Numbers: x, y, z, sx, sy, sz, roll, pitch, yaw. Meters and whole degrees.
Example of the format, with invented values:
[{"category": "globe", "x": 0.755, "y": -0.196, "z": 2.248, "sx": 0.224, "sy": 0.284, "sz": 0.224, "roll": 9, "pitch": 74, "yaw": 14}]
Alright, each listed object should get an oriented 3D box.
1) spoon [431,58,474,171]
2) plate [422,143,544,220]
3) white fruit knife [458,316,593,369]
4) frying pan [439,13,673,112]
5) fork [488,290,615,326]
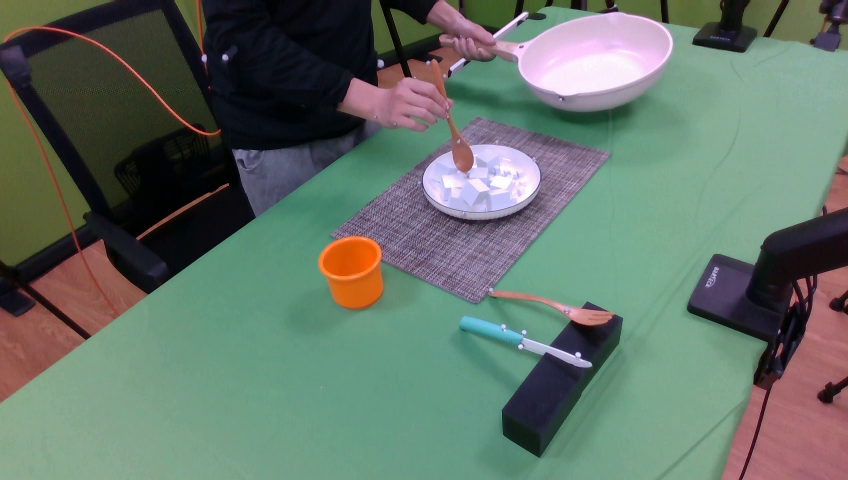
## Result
[{"category": "spoon", "x": 0.043, "y": -0.200, "z": 0.983, "sx": 0.041, "sy": 0.195, "sz": 0.021, "roll": 2, "pitch": 38, "yaw": 34}, {"category": "plate", "x": 0.102, "y": -0.097, "z": 1.048, "sx": 0.207, "sy": 0.039, "sz": 0.206, "roll": -4, "pitch": 40, "yaw": 4}, {"category": "white fruit knife", "x": 0.120, "y": 0.127, "z": 0.757, "sx": 0.205, "sy": 0.027, "sz": 0.016, "roll": 12, "pitch": 44, "yaw": 43}, {"category": "frying pan", "x": 0.249, "y": -0.380, "z": 1.245, "sx": 0.485, "sy": 0.103, "sz": 0.307, "roll": 19, "pitch": 53, "yaw": 24}, {"category": "fork", "x": 0.160, "y": 0.086, "z": 0.800, "sx": 0.205, "sy": 0.019, "sz": 0.028, "roll": 11, "pitch": 46, "yaw": 48}]
